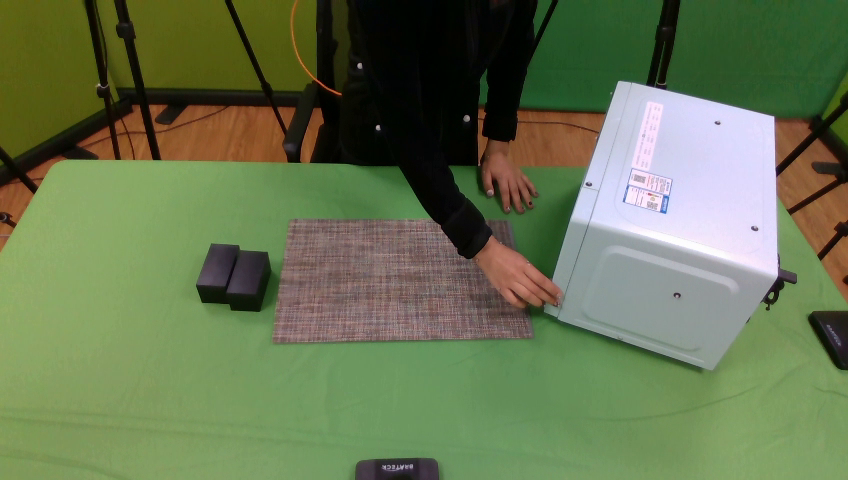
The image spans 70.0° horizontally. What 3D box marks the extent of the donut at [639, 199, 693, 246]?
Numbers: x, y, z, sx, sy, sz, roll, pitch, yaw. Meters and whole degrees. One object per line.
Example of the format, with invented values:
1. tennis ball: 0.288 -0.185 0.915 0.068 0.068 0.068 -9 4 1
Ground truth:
1. donut: 0.463 -0.034 1.160 0.099 0.048 0.098 -1 62 1

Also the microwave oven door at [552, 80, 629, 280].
1. microwave oven door: 0.325 -0.116 1.156 0.039 0.245 0.354 18 48 13

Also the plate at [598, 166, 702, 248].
1. plate: 0.432 -0.061 1.175 0.209 0.038 0.208 8 47 -9

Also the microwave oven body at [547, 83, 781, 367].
1. microwave oven body: 0.445 -0.040 1.100 0.325 0.261 0.440 17 47 13

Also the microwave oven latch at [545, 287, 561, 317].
1. microwave oven latch: 0.237 0.099 1.087 0.030 0.029 0.079 17 47 13
